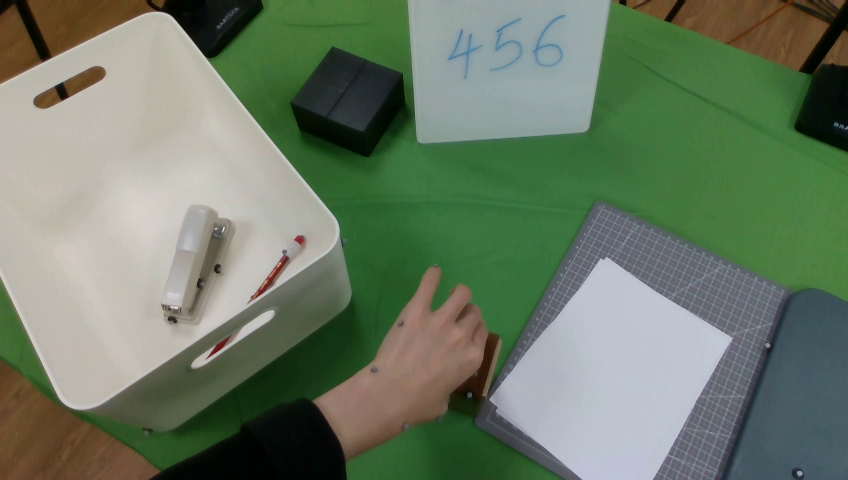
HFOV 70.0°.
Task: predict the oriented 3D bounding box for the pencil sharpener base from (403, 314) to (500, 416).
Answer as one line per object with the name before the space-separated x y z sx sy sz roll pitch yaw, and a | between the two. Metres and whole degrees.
pencil sharpener base | 0.023 0.119 0.570 0.076 0.108 0.061 17 68 8

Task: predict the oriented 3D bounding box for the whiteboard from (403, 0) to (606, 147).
whiteboard | 0.085 -0.282 0.700 0.217 0.308 0.142 -4 44 0

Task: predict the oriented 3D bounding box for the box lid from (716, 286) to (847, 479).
box lid | 0.419 0.239 0.562 0.262 0.015 0.370 28 67 13

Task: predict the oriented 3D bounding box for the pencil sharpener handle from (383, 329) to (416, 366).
pencil sharpener handle | -0.025 0.099 0.565 0.030 0.068 0.036 17 70 8

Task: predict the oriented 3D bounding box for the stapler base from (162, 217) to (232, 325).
stapler base | -0.251 0.028 0.667 0.041 0.024 0.129 8 66 7

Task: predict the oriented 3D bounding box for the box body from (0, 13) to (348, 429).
box body | -0.273 -0.022 0.621 0.254 0.161 0.361 -35 68 -15

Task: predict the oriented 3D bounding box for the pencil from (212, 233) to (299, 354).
pencil | -0.189 0.071 0.652 0.012 0.012 0.193 24 66 13

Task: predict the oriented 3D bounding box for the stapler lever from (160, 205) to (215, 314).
stapler lever | -0.251 0.018 0.643 0.027 0.040 0.117 8 66 7
